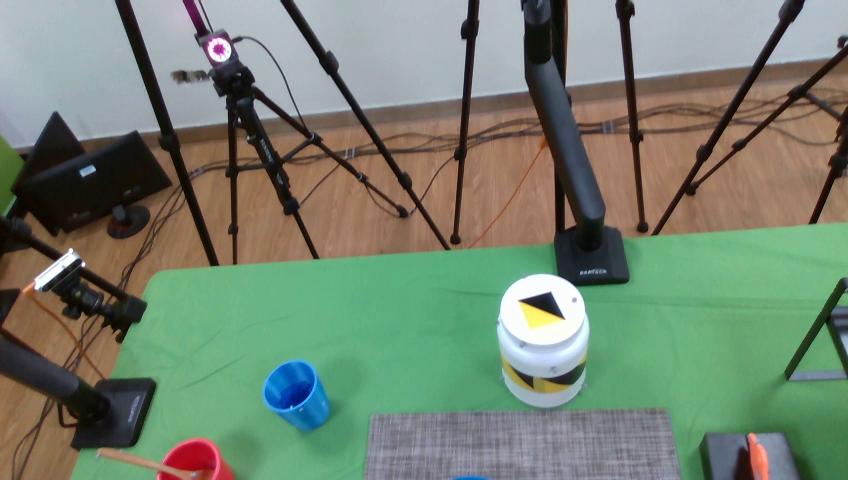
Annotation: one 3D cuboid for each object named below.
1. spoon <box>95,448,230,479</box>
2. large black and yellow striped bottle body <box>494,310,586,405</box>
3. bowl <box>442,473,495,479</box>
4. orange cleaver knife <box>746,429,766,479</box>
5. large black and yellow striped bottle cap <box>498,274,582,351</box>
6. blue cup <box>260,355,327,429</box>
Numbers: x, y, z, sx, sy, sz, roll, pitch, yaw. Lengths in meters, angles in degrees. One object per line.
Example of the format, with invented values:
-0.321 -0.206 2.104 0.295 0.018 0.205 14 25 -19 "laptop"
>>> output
-0.381 0.336 0.889 0.195 0.021 0.041 28 52 -22 "spoon"
0.172 0.150 0.900 0.130 0.186 0.129 -6 50 7 "large black and yellow striped bottle body"
0.062 0.392 0.789 0.151 0.077 0.150 -6 50 7 "bowl"
0.422 0.347 0.753 0.012 0.077 0.210 -5 79 14 "orange cleaver knife"
0.159 0.098 0.835 0.115 0.019 0.114 -6 51 8 "large black and yellow striped bottle cap"
-0.196 0.249 0.949 0.092 0.101 0.091 -7 50 9 "blue cup"
